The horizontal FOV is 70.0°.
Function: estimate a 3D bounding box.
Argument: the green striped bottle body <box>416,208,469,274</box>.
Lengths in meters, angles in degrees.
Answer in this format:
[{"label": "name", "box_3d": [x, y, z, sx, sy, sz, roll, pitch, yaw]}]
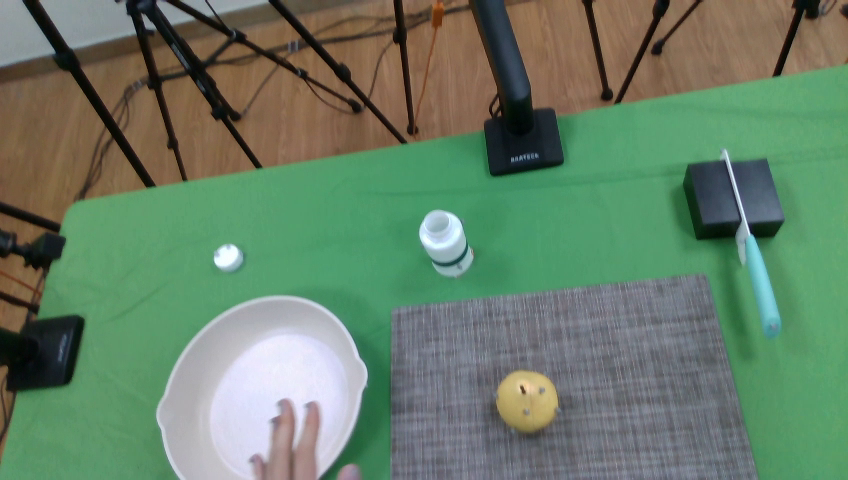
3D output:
[{"label": "green striped bottle body", "box_3d": [0.027, -0.002, 0.883, 0.063, 0.120, 0.062, -6, 62, 11]}]

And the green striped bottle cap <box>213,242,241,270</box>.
[{"label": "green striped bottle cap", "box_3d": [-0.329, 0.027, 1.013, 0.044, 0.020, 0.044, -6, 62, 12]}]

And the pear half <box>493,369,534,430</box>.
[{"label": "pear half", "box_3d": [0.114, 0.196, 0.764, 0.056, 0.111, 0.075, -3, 58, 12]}]

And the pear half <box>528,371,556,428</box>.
[{"label": "pear half", "box_3d": [0.151, 0.200, 0.764, 0.031, 0.089, 0.070, -4, 58, 14]}]

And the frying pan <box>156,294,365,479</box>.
[{"label": "frying pan", "box_3d": [-0.213, 0.305, 0.795, 0.306, 0.104, 0.483, -12, 53, 8]}]

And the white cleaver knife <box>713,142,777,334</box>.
[{"label": "white cleaver knife", "box_3d": [0.430, -0.009, 0.819, 0.021, 0.066, 0.284, -8, 60, 18]}]
